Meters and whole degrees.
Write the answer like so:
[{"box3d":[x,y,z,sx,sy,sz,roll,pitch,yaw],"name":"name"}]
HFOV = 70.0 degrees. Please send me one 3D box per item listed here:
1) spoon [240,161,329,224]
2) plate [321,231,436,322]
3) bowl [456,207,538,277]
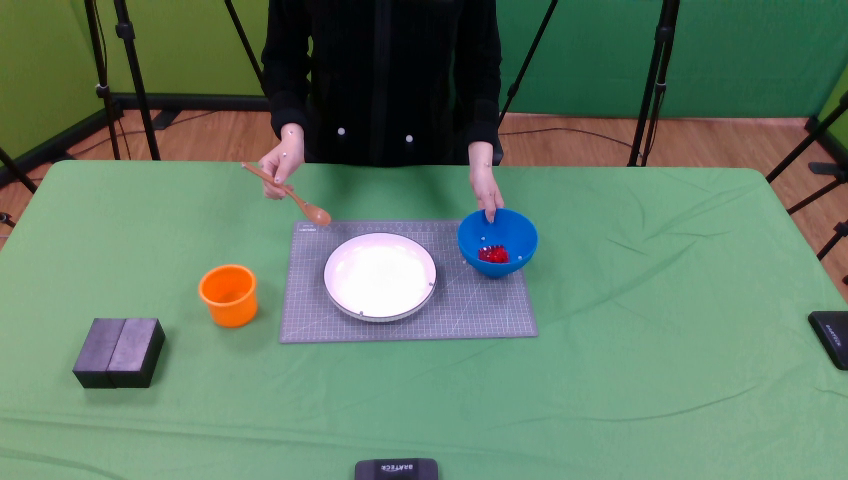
[{"box3d":[-0.243,-0.084,1.071,0.021,0.195,0.041,-27,42,27],"name":"spoon"},{"box3d":[-0.083,0.070,1.109,0.209,0.038,0.208,3,46,-3],"name":"plate"},{"box3d":[0.135,0.016,1.134,0.151,0.077,0.150,-1,45,1],"name":"bowl"}]
